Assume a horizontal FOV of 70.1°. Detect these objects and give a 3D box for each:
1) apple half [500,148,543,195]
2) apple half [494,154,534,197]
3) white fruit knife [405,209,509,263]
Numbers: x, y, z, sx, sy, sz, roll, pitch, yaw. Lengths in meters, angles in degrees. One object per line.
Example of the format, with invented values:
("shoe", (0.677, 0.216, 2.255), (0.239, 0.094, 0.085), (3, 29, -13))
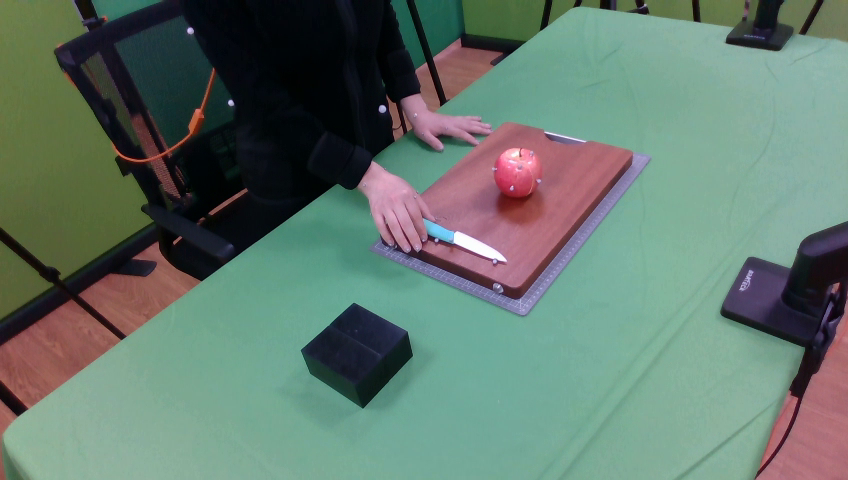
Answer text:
("apple half", (0.166, -0.118, 1.010), (0.080, 0.075, 0.053), (23, 46, 38))
("apple half", (0.140, -0.098, 0.989), (0.080, 0.081, 0.033), (27, 50, 35))
("white fruit knife", (0.046, -0.005, 0.944), (0.206, 0.016, 0.027), (24, 62, 32))
